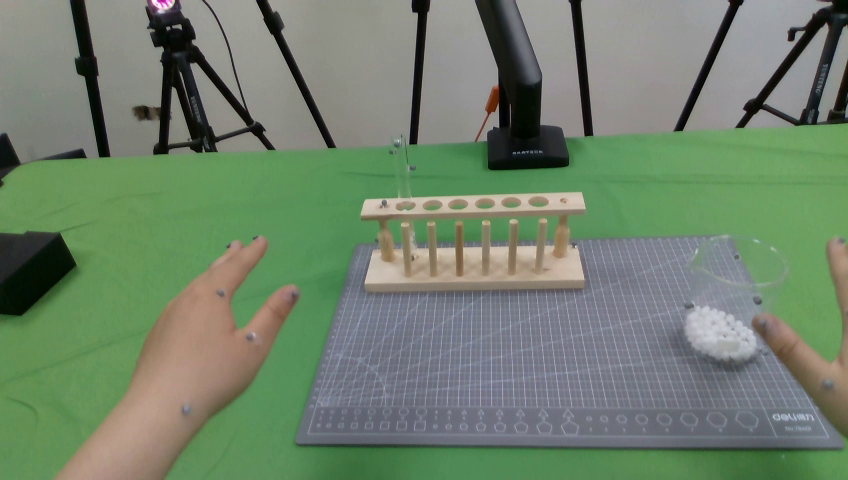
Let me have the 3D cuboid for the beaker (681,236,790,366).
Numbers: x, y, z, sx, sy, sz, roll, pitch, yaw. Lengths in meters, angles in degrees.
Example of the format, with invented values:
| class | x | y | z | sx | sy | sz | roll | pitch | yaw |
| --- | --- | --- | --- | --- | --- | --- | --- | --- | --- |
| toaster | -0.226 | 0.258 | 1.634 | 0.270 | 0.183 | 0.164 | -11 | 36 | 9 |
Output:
| class | x | y | z | sx | sy | sz | roll | pitch | yaw |
| --- | --- | --- | --- | --- | --- | --- | --- | --- | --- |
| beaker | 0.276 | 0.058 | 0.553 | 0.084 | 0.101 | 0.073 | -2 | 35 | 8 |

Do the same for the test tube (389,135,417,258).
| class | x | y | z | sx | sy | sz | roll | pitch | yaw |
| --- | --- | --- | --- | --- | --- | --- | --- | --- | --- |
| test tube | -0.022 | -0.044 | 0.668 | 0.017 | 0.151 | 0.017 | -4 | 32 | 3 |

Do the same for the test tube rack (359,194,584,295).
| class | x | y | z | sx | sy | sz | roll | pitch | yaw |
| --- | --- | --- | --- | --- | --- | --- | --- | --- | --- |
| test tube rack | 0.052 | 0.006 | 0.673 | 0.242 | 0.086 | 0.066 | -2 | 35 | 6 |
